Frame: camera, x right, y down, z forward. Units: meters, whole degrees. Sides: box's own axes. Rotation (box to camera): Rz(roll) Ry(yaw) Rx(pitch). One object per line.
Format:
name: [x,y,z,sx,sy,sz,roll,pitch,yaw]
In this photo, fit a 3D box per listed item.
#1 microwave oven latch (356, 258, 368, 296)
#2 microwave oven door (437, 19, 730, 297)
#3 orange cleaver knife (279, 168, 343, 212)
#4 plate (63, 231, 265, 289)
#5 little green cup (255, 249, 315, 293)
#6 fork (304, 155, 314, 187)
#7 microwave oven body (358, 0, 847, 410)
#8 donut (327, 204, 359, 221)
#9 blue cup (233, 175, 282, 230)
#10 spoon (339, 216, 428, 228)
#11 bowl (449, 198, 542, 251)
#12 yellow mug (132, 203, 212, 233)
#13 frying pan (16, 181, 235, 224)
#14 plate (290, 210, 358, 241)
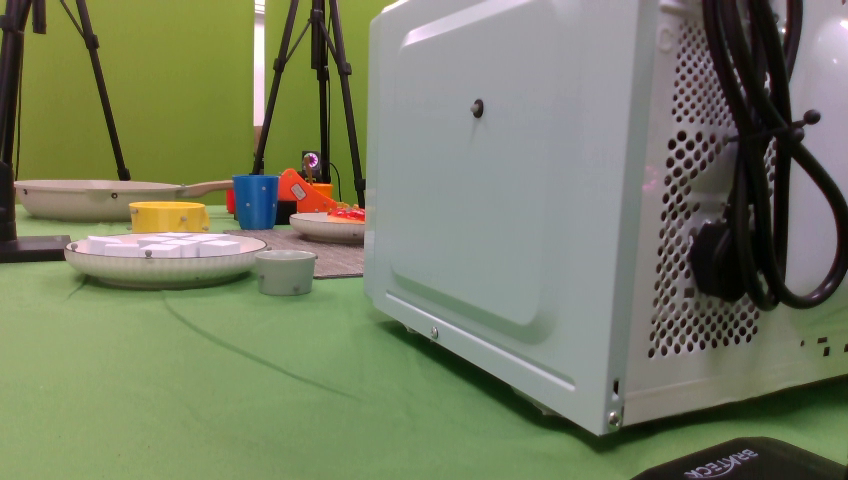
microwave oven latch: [-0.019,0.031,0.528,0.079,0.029,0.030,-1,7,-25]
microwave oven door: [0.181,-0.076,0.618,0.358,0.243,0.039,-2,8,-28]
orange cleaver knife: [-0.236,-0.084,1.333,0.212,0.077,0.012,31,-9,-31]
plate: [-0.288,0.021,0.687,0.208,0.039,0.207,2,8,0]
little green cup: [-0.144,0.031,0.627,0.061,0.038,0.061,2,6,0]
fork: [-0.268,-0.134,1.447,0.028,0.018,0.207,2,-36,-1]
microwave oven body: [0.210,-0.051,0.471,0.444,0.260,0.324,-1,7,-28]
donut: [-0.120,-0.037,1.056,0.099,0.048,0.099,5,7,0]
blue cup: [-0.314,-0.071,1.141,0.093,0.100,0.092,0,7,0]
spoon: [-0.087,-0.041,1.268,0.193,0.021,0.041,4,25,13]
bowl: [0.115,-0.025,0.988,0.151,0.077,0.151,2,8,0]
yellow mug: [-0.356,-0.020,0.878,0.099,0.064,0.131,4,7,22]
frying pan: [-0.553,-0.097,1.266,0.490,0.102,0.305,-10,13,-24]
plate: [-0.127,-0.026,1.051,0.209,0.038,0.209,2,7,0]
